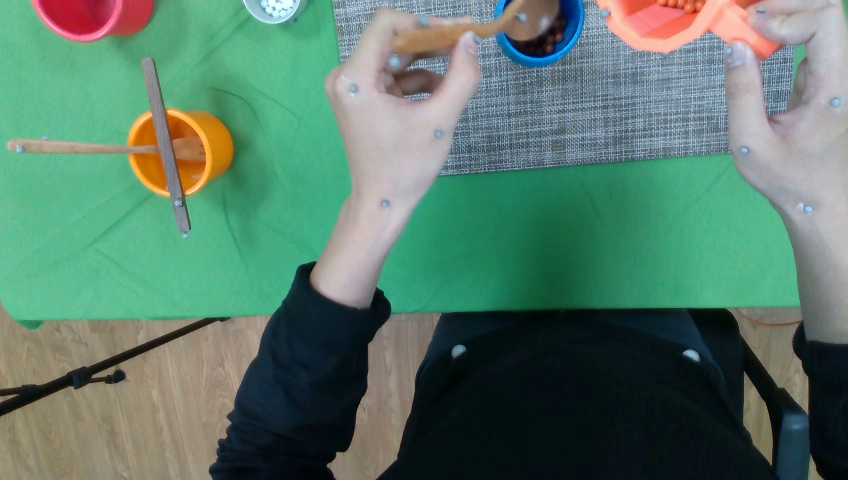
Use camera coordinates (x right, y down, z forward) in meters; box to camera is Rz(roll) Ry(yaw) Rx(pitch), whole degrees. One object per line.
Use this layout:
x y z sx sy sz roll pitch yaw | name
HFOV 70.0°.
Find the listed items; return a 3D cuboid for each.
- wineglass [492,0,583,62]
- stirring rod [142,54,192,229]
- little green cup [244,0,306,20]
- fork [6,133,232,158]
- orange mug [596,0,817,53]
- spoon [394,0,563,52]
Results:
0.095 -0.192 0.527 0.073 0.171 0.074 2 107 7 | wineglass
-0.260 -0.097 0.615 0.014 0.006 0.177 -3 106 9 | stirring rod
-0.149 -0.254 0.612 0.061 0.038 0.062 2 108 7 | little green cup
-0.302 -0.098 0.622 0.208 0.018 0.028 -5 120 -37 | fork
0.184 -0.170 0.389 0.125 0.101 0.084 49 147 20 | orange mug
0.043 -0.140 0.393 0.021 0.193 0.042 39 130 13 | spoon
